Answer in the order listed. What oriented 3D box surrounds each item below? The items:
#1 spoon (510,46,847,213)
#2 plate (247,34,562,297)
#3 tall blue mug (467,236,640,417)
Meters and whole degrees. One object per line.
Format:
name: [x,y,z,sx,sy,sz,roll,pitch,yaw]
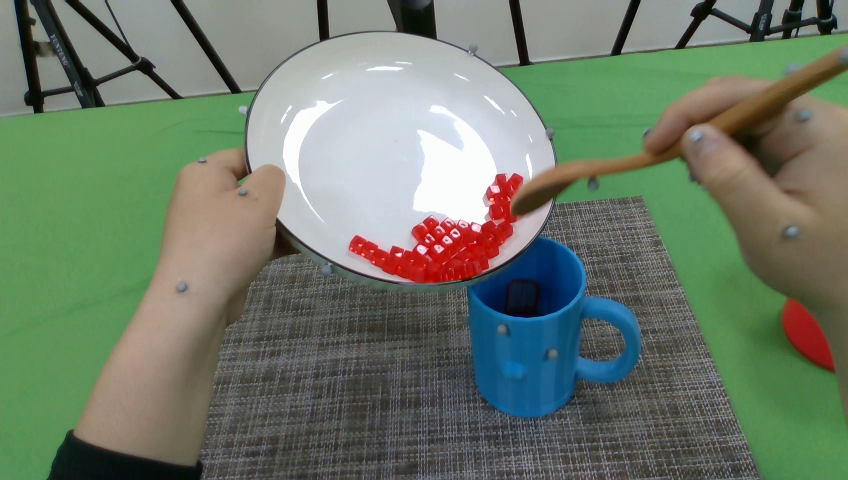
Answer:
spoon: [0.105,-0.042,0.279,0.042,0.021,0.193,-13,-2,-32]
plate: [-0.011,-0.052,0.411,0.208,0.039,0.206,6,60,-10]
tall blue mug: [0.085,0.059,0.420,0.107,0.109,0.077,-9,42,-1]
